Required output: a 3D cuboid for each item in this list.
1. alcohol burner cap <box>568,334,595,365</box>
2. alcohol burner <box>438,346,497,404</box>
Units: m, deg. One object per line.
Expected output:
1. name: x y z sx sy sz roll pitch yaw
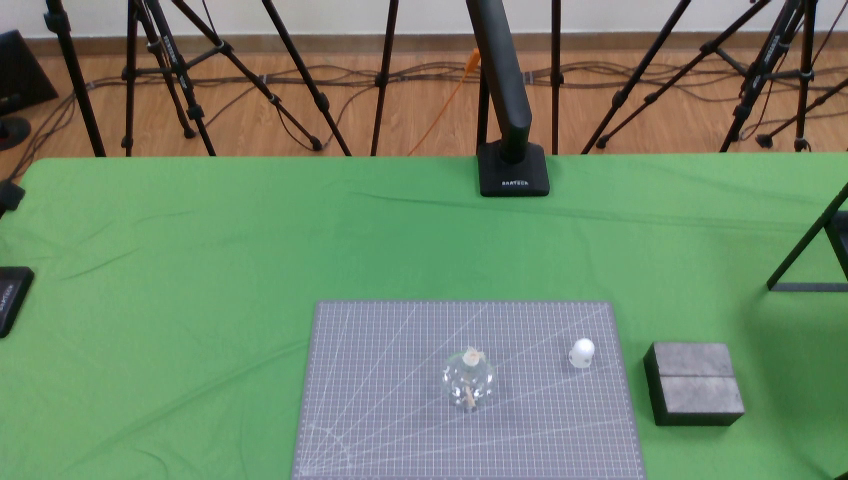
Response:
1. alcohol burner cap: 0.222 0.151 0.851 0.034 0.048 0.033 0 53 0
2. alcohol burner: 0.058 0.169 0.794 0.078 0.120 0.077 1 55 -1
